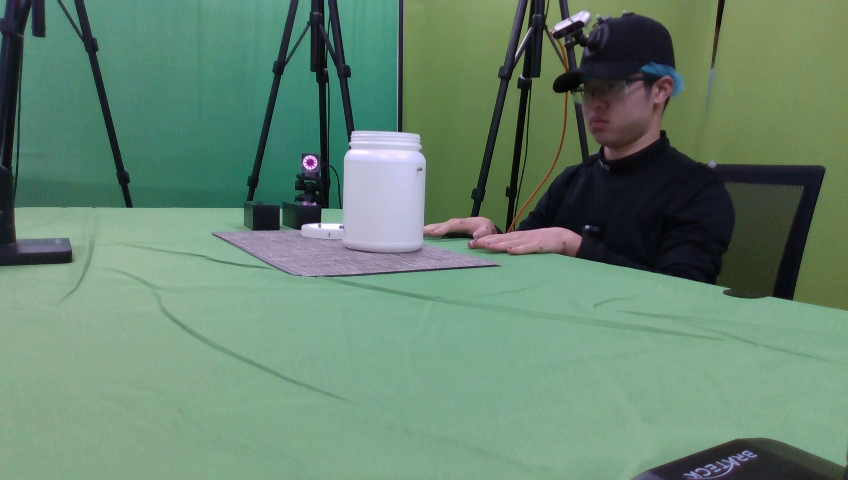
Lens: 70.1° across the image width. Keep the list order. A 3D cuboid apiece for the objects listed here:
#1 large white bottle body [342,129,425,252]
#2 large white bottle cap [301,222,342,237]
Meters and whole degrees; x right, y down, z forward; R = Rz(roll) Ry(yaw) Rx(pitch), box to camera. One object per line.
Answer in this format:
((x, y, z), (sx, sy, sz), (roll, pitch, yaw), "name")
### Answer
((-0.064, -0.080, 0.958), (0.131, 0.184, 0.130), (2, 8, 0), "large white bottle body")
((-0.167, -0.019, 1.103), (0.115, 0.018, 0.115), (2, 7, 0), "large white bottle cap")
